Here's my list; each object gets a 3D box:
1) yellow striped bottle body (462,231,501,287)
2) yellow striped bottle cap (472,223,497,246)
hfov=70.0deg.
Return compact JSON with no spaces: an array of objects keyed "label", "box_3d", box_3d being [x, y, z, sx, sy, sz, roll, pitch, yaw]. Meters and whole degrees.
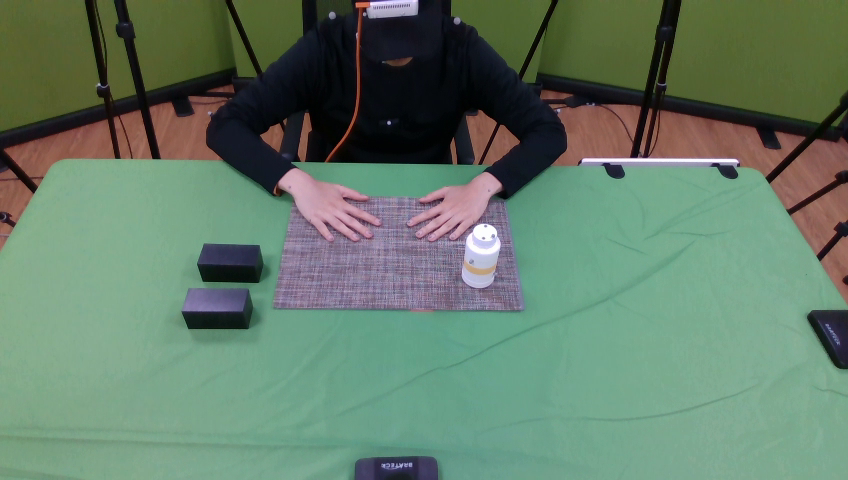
[{"label":"yellow striped bottle body","box_3d":[0.105,0.026,1.106,0.063,0.121,0.062,2,46,-2]},{"label":"yellow striped bottle cap","box_3d":[0.107,-0.010,1.068,0.044,0.019,0.044,3,47,-3]}]
